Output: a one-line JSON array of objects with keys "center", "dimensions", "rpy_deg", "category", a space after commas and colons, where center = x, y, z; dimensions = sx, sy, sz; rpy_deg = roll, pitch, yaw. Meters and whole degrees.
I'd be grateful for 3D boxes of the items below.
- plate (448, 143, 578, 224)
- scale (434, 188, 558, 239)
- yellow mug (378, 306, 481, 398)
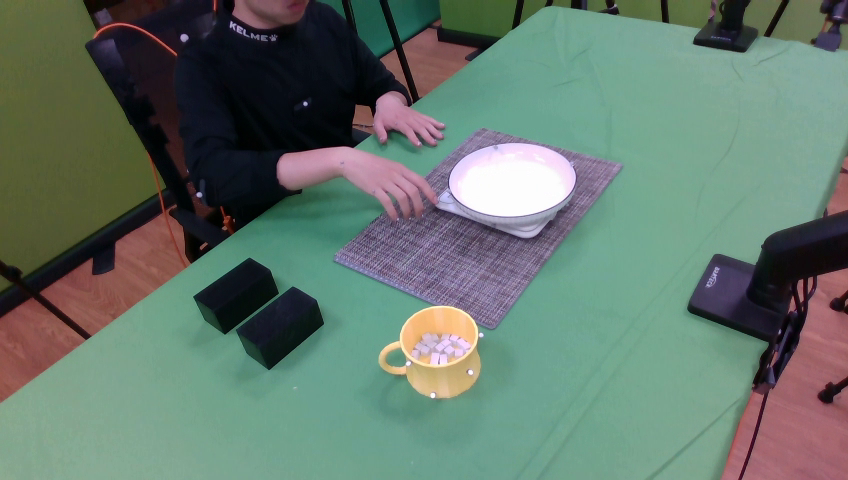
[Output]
[{"center": [0.145, -0.089, 0.989], "dimensions": [0.209, 0.038, 0.208], "rpy_deg": [-4, 40, 4], "category": "plate"}, {"center": [0.132, -0.075, 1.025], "dimensions": [0.199, 0.032, 0.149], "rpy_deg": [22, 48, 30], "category": "scale"}, {"center": [0.006, 0.144, 0.766], "dimensions": [0.131, 0.064, 0.099], "rpy_deg": [-10, 40, -2], "category": "yellow mug"}]
